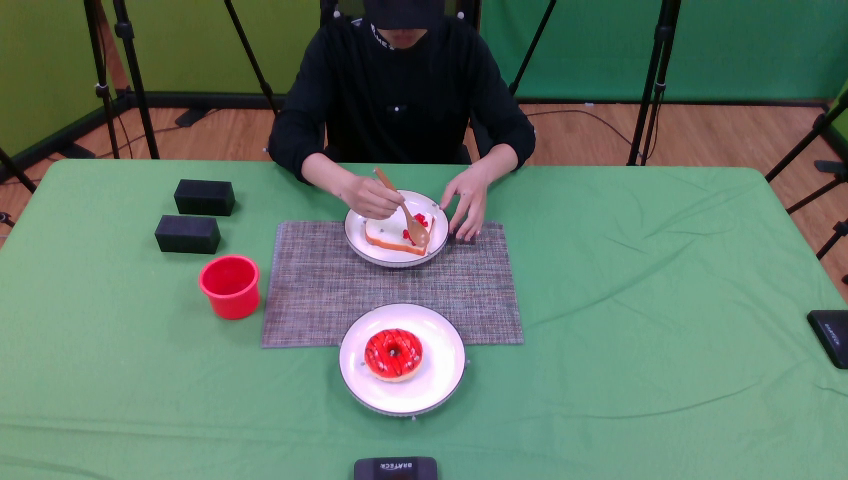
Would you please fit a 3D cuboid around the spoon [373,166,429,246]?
[{"bbox_3d":[-0.041,-0.062,1.111,0.021,0.195,0.041,5,48,39],"label":"spoon"}]

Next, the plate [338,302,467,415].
[{"bbox_3d":[-0.035,0.194,0.992,0.208,0.039,0.206,2,48,-2],"label":"plate"}]

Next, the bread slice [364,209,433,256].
[{"bbox_3d":[-0.053,-0.020,1.199,0.131,0.019,0.104,11,46,3],"label":"bread slice"}]

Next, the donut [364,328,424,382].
[{"bbox_3d":[-0.049,0.185,0.984,0.099,0.048,0.098,1,45,-1],"label":"donut"}]

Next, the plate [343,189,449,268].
[{"bbox_3d":[-0.056,-0.019,1.194,0.209,0.038,0.208,3,45,-3],"label":"plate"}]
